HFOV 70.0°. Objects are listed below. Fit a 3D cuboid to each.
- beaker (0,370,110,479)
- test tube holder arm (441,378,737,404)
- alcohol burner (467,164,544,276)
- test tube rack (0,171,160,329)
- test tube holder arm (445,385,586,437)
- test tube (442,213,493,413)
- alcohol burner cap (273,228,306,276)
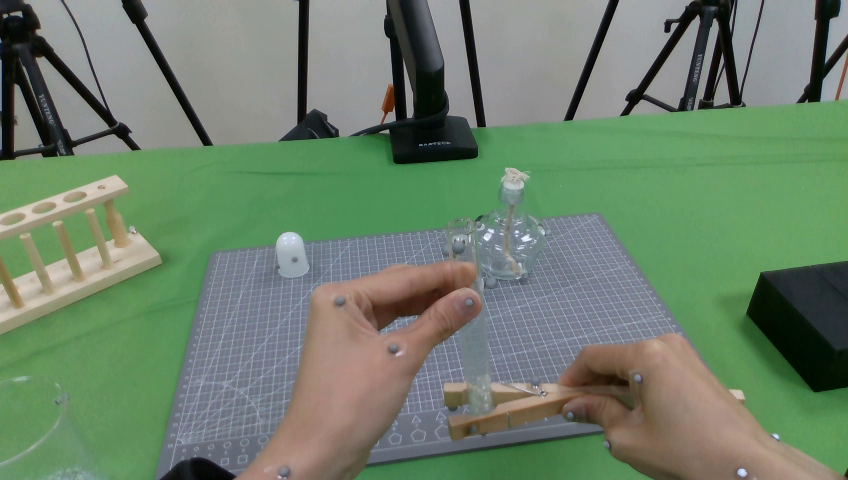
[{"bbox_3d":[-0.261,0.147,0.399,0.084,0.101,0.073,-1,36,1],"label":"beaker"},{"bbox_3d":[0.100,0.093,0.372,0.178,0.015,0.013,-1,40,2],"label":"test tube holder arm"},{"bbox_3d":[0.083,-0.024,0.608,0.078,0.120,0.077,1,36,0],"label":"alcohol burner"},{"bbox_3d":[-0.398,0.022,0.589,0.242,0.086,0.066,-29,44,-33],"label":"test tube rack"},{"bbox_3d":[0.056,0.100,0.365,0.088,0.015,0.010,-12,39,-12],"label":"test tube holder arm"},{"bbox_3d":[0.026,0.051,0.332,0.017,0.151,0.017,-6,35,5],"label":"test tube"},{"bbox_3d":[-0.142,0.010,0.630,0.034,0.048,0.033,-1,36,1],"label":"alcohol burner cap"}]
